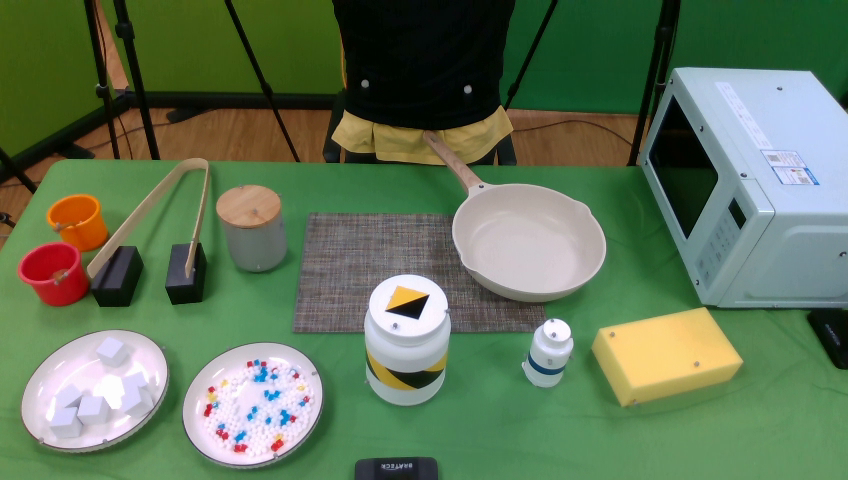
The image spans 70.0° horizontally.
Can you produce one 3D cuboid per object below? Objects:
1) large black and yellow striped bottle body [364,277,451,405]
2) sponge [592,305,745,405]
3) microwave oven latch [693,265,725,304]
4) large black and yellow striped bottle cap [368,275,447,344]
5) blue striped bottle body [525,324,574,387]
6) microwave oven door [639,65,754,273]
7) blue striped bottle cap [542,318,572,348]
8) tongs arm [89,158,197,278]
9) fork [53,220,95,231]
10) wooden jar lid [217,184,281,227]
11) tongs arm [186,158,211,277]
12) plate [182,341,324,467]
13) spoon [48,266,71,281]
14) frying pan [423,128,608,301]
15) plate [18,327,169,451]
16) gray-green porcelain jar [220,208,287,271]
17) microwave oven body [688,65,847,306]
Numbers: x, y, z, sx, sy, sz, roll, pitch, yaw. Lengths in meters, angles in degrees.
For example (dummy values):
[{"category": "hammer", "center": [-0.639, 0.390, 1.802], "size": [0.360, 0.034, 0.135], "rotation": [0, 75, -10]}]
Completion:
[{"category": "large black and yellow striped bottle body", "center": [-0.026, 0.155, 0.933], "size": [0.131, 0.185, 0.130], "rotation": [2, 47, -2]}, {"category": "sponge", "center": [0.405, 0.190, 1.014], "size": [0.207, 0.061, 0.117], "rotation": [-10, 48, -13]}, {"category": "microwave oven latch", "center": [0.523, 0.081, 1.116], "size": [0.030, 0.029, 0.078], "rotation": [2, 46, -1]}, {"category": "large black and yellow striped bottle cap", "center": [-0.024, 0.098, 0.871], "size": [0.115, 0.019, 0.114], "rotation": [2, 45, -2]}, {"category": "blue striped bottle body", "center": [0.202, 0.179, 0.970], "size": [0.063, 0.121, 0.062], "rotation": [2, 46, -2]}, {"category": "microwave oven door", "center": [0.522, -0.147, 1.193], "size": [0.039, 0.245, 0.353], "rotation": [0, 47, -3]}, {"category": "blue striped bottle cap", "center": [0.205, 0.143, 0.933], "size": [0.044, 0.021, 0.044], "rotation": [0, 48, 0]}, {"category": "tongs arm", "center": [-0.530, -0.057, 1.163], "size": [0.028, 0.028, 0.385], "rotation": [1, 36, 7]}, {"category": "fork", "center": [-0.627, -0.026, 1.086], "size": [0.028, 0.018, 0.207], "rotation": [1, 1, -15]}, {"category": "wooden jar lid", "center": [-0.307, -0.057, 1.067], "size": [0.108, 0.021, 0.107], "rotation": [5, 44, -4]}, {"category": "tongs arm", "center": [-0.445, -0.057, 1.168], "size": [0.051, 0.026, 0.382], "rotation": [-5, 37, -6]}, {"category": "plate", "center": [-0.258, 0.250, 0.927], "size": [0.209, 0.038, 0.208], "rotation": [3, 46, -2]}, {"category": "spoon", "center": [-0.609, 0.057, 1.010], "size": [0.041, 0.022, 0.193], "rotation": [-33, 14, -27]}, {"category": "frying pan", "center": [0.142, -0.069, 1.208], "size": [0.307, 0.103, 0.485], "rotation": [-23, 60, -25]}, {"category": "plate", "center": [-0.498, 0.229, 0.929], "size": [0.208, 0.039, 0.206], "rotation": [2, 47, -2]}, {"category": "gray-green porcelain jar", "center": [-0.310, -0.014, 1.113], "size": [0.106, 0.127, 0.105], "rotation": [1, 47, -1]}, {"category": "microwave oven body", "center": [0.669, -0.111, 1.176], "size": [0.326, 0.261, 0.439], "rotation": [0, 46, -3]}]
